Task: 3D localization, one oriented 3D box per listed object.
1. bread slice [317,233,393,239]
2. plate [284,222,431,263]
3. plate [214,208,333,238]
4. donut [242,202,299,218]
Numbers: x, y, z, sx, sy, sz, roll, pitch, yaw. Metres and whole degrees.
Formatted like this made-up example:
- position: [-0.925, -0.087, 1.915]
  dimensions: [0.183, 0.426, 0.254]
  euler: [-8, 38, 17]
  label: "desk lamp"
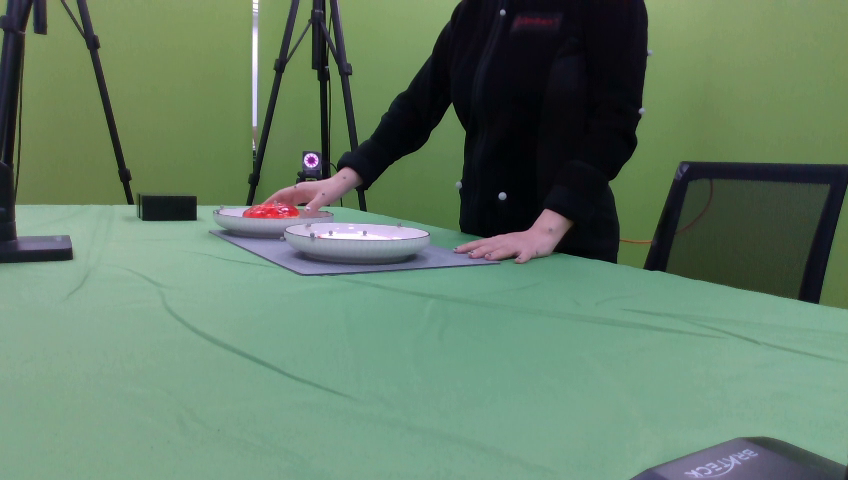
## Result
- position: [-0.096, 0.004, 0.863]
  dimensions: [0.107, 0.018, 0.133]
  euler: [-1, 7, -31]
  label: "bread slice"
- position: [-0.094, 0.003, 0.868]
  dimensions: [0.209, 0.038, 0.209]
  euler: [2, 7, 0]
  label: "plate"
- position: [-0.268, -0.032, 1.084]
  dimensions: [0.208, 0.039, 0.207]
  euler: [2, 7, 0]
  label: "plate"
- position: [-0.269, -0.040, 1.057]
  dimensions: [0.099, 0.048, 0.099]
  euler: [-2, 11, 1]
  label: "donut"
